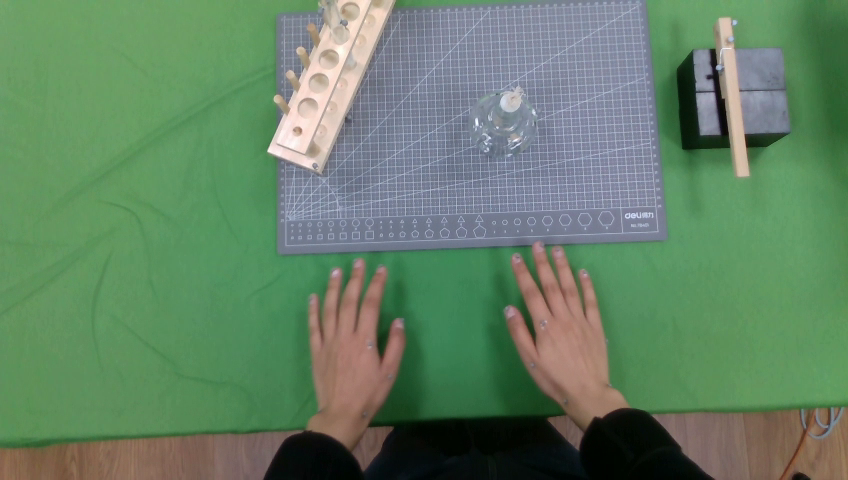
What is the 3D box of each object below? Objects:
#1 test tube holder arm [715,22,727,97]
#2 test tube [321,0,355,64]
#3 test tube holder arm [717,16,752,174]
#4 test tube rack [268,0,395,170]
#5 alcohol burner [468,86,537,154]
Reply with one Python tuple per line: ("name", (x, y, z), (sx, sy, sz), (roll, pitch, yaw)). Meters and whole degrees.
("test tube holder arm", (0.334, -0.201, 0.668), (0.015, 0.010, 0.087), (-4, 79, 11))
("test tube", (-0.089, -0.221, 0.639), (0.017, 0.150, 0.017), (0, 84, 1))
("test tube holder arm", (0.334, -0.158, 0.654), (0.015, 0.013, 0.177), (-4, 79, 12))
("test tube rack", (-0.108, -0.211, 0.688), (0.066, 0.085, 0.242), (22, 83, 5))
("alcohol burner", (0.087, -0.136, 0.660), (0.078, 0.119, 0.077), (0, 81, 0))
